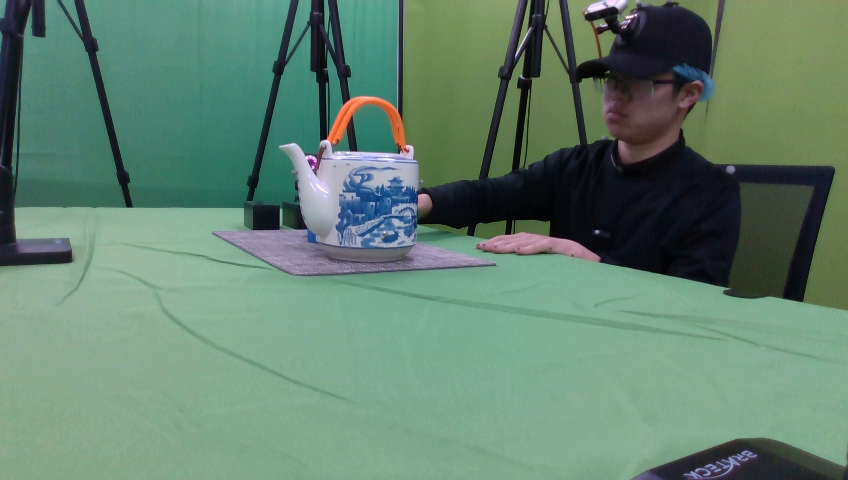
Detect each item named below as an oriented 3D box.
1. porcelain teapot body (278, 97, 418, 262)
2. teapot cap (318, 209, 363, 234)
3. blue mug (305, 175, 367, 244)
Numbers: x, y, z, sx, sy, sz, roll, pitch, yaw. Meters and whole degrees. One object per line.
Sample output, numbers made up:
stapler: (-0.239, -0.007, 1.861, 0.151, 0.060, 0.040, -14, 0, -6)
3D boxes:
porcelain teapot body: (-0.104, -0.086, 0.842, 0.206, 0.225, 0.144, -4, 10, -38)
teapot cap: (-0.158, -0.036, 1.144, 0.085, 0.044, 0.085, 1, 7, 0)
blue mug: (-0.144, -0.055, 1.023, 0.082, 0.106, 0.117, 13, 16, 43)
